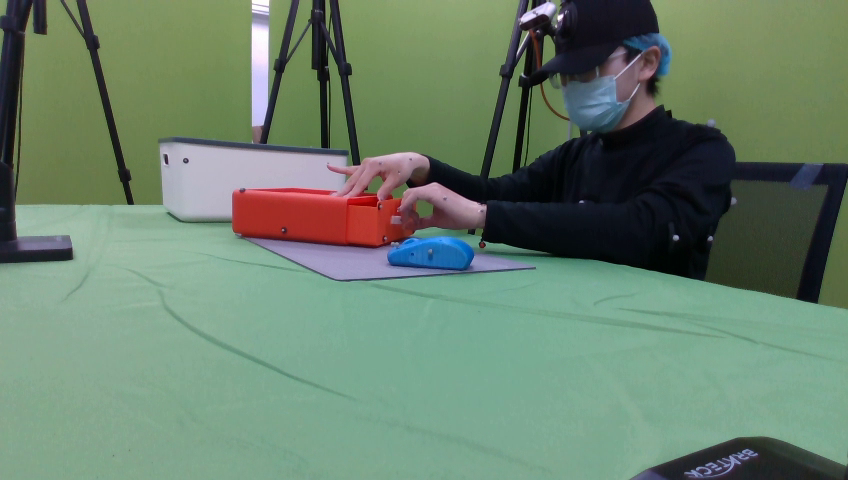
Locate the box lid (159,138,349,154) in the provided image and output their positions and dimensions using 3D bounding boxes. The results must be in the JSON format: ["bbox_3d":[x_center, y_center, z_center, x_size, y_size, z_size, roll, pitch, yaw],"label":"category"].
[{"bbox_3d":[-0.376,-0.206,1.344,0.373,0.015,0.262,-1,8,-30],"label":"box lid"}]

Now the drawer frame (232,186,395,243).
[{"bbox_3d":[-0.186,-0.049,1.060,0.213,0.082,0.202,4,8,17],"label":"drawer frame"}]

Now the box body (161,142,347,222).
[{"bbox_3d":[-0.380,-0.132,1.352,0.366,0.160,0.253,-2,8,-30],"label":"box body"}]

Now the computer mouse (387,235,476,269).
[{"bbox_3d":[0.010,0.014,0.805,0.117,0.041,0.063,-1,8,10],"label":"computer mouse"}]

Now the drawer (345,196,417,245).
[{"bbox_3d":[-0.138,-0.044,1.047,0.211,0.073,0.195,4,8,17],"label":"drawer"}]
